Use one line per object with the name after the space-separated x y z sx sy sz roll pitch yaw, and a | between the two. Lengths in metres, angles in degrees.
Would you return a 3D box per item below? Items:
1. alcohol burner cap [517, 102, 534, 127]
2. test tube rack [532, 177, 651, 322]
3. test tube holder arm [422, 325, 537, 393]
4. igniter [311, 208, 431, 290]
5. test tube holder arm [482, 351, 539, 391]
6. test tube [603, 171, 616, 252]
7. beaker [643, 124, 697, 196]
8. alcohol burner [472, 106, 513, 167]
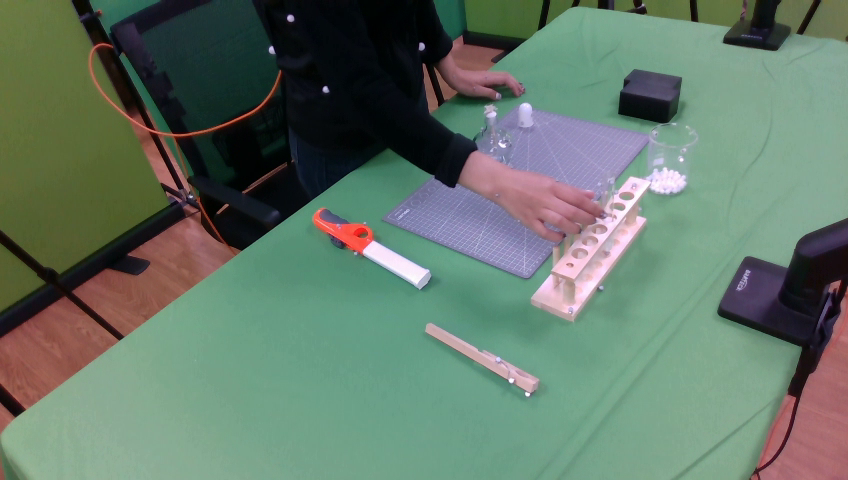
0.205 -0.255 1.223 0.034 0.048 0.033 -6 40 5 | alcohol burner cap
0.248 0.002 0.883 0.066 0.085 0.243 23 49 32 | test tube rack
0.068 0.152 0.789 0.177 0.015 0.013 23 15 32 | test tube holder arm
-0.096 0.008 0.985 0.274 0.025 0.057 29 63 36 | igniter
0.106 0.166 0.769 0.087 0.015 0.010 24 15 34 | test tube holder arm
0.260 -0.036 0.847 0.017 0.151 0.017 -8 45 9 | test tube
0.407 -0.132 1.001 0.084 0.101 0.073 -20 42 -14 | beaker
0.125 -0.194 1.111 0.078 0.119 0.077 -5 42 5 | alcohol burner
